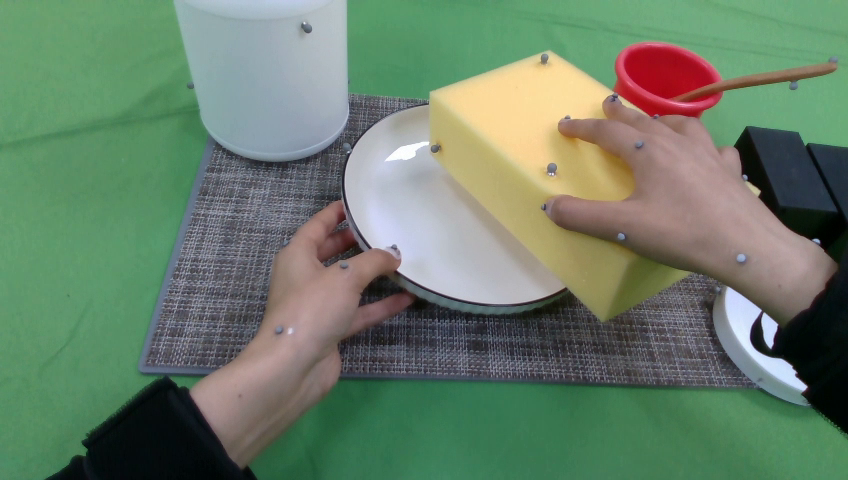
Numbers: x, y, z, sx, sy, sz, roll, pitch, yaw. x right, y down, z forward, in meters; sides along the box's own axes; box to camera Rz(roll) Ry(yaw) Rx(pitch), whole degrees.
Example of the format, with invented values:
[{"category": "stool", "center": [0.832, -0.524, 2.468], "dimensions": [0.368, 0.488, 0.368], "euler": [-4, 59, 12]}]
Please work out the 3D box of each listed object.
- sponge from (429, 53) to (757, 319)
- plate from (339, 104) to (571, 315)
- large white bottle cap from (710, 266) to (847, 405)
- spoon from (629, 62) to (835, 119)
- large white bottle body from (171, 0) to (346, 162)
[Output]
[{"category": "sponge", "center": [0.108, -0.052, 0.441], "dimensions": [0.118, 0.061, 0.204], "euler": [-26, 52, -23]}, {"category": "plate", "center": [0.037, -0.027, 0.482], "dimensions": [0.210, 0.038, 0.207], "euler": [7, 52, -9]}, {"category": "large white bottle cap", "center": [0.277, 0.069, 0.461], "dimensions": [0.115, 0.018, 0.113], "euler": [6, 51, -7]}, {"category": "spoon", "center": [0.248, -0.129, 0.534], "dimensions": [0.041, 0.193, 0.022], "euler": [-48, 116, -35]}, {"category": "large white bottle body", "center": [-0.129, -0.171, 0.489], "dimensions": [0.131, 0.186, 0.129], "euler": [3, 51, -4]}]
